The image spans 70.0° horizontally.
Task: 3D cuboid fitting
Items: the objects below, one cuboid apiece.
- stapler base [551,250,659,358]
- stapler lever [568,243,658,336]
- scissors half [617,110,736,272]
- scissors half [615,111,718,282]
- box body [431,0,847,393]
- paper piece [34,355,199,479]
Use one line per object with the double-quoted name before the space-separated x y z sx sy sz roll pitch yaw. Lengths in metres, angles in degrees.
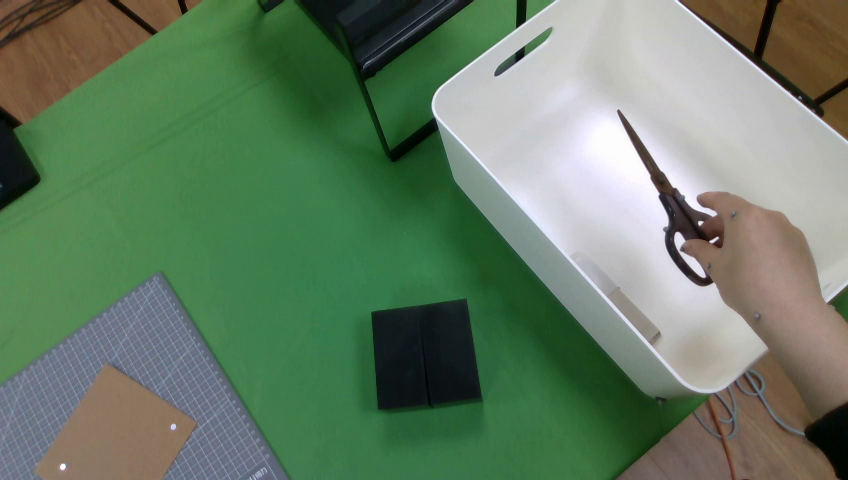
"stapler base" 0.189 0.061 0.636 0.041 0.024 0.129 -38 71 -8
"stapler lever" 0.188 0.052 0.611 0.027 0.040 0.117 -38 72 -8
"scissors half" 0.226 -0.048 0.548 0.040 0.013 0.174 -27 79 -34
"scissors half" 0.209 -0.043 0.538 0.040 0.013 0.174 -12 71 -24
"box body" 0.214 -0.057 0.607 0.254 0.161 0.361 -38 71 -6
"paper piece" -0.334 0.217 0.656 0.137 0.009 0.135 28 81 13
